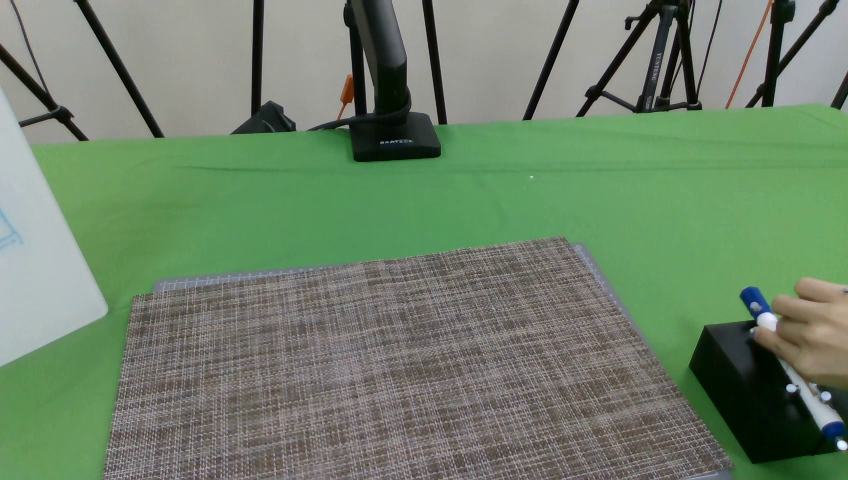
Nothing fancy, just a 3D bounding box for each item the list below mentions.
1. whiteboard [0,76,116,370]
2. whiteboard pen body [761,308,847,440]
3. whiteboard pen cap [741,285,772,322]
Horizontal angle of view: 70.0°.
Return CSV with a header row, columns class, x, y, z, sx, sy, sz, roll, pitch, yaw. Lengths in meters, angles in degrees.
class,x,y,z,sx,sy,sz,roll,pitch,yaw
whiteboard,-0.441,-0.032,0.492,0.217,0.307,0.142,-31,28,-35
whiteboard pen body,0.284,0.090,0.465,0.017,0.017,0.139,2,37,2
whiteboard pen cap,0.284,0.055,0.514,0.018,0.018,0.033,1,38,0
